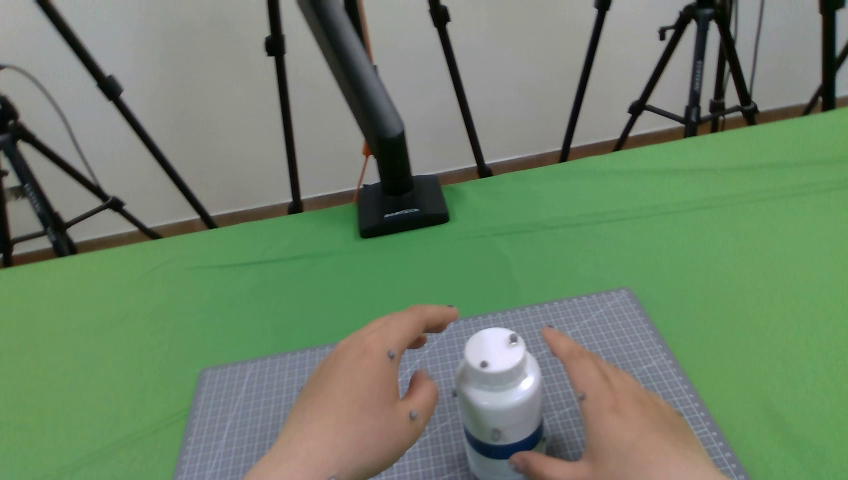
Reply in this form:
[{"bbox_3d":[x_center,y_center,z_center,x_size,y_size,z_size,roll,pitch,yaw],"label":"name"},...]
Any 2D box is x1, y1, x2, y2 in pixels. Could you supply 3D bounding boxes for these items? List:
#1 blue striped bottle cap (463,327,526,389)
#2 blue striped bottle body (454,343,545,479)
[{"bbox_3d":[0.049,0.082,0.426,0.044,0.021,0.044,-6,36,5],"label":"blue striped bottle cap"},{"bbox_3d":[0.057,0.123,0.455,0.063,0.122,0.062,-7,35,5],"label":"blue striped bottle body"}]
